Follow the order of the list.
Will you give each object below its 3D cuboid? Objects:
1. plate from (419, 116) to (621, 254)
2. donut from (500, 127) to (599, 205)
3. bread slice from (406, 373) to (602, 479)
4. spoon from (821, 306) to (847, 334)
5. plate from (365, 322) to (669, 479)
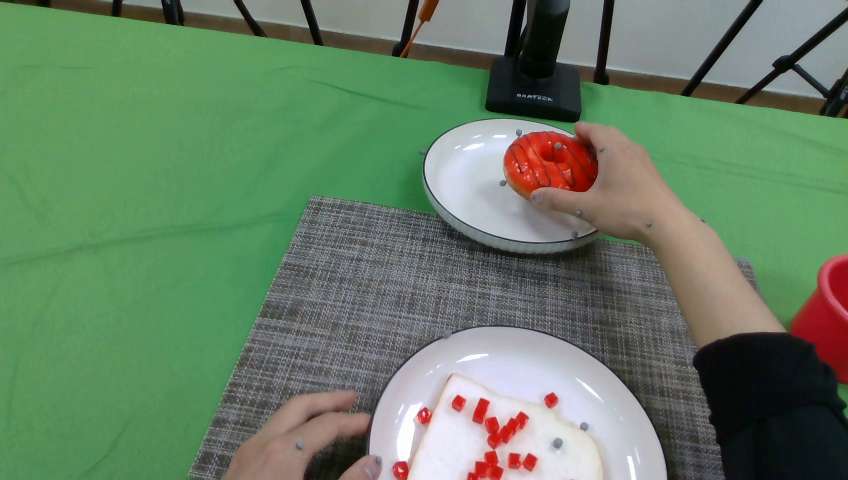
[{"bbox_3d":[0.097,-0.057,0.633,0.208,0.039,0.205,4,45,-3],"label":"plate"},{"bbox_3d":[0.124,-0.073,0.598,0.099,0.048,0.098,5,44,-4],"label":"donut"},{"bbox_3d":[0.060,0.155,0.429,0.131,0.019,0.104,17,48,12],"label":"bread slice"},{"bbox_3d":[0.356,0.071,0.470,0.041,0.021,0.194,24,5,16],"label":"spoon"},{"bbox_3d":[0.063,0.152,0.429,0.209,0.038,0.207,3,46,-3],"label":"plate"}]
